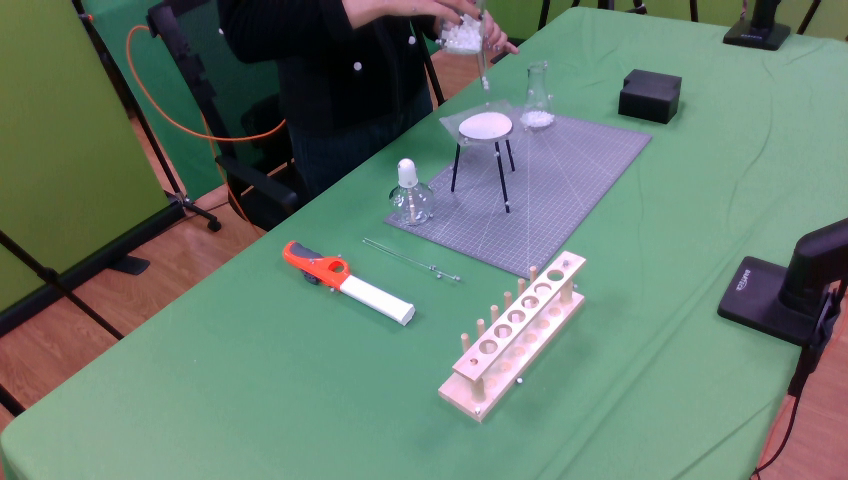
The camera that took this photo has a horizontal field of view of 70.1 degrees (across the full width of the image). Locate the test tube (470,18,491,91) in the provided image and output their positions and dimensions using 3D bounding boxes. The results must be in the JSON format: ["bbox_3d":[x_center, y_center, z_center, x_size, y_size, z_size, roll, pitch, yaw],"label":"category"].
[{"bbox_3d":[0.101,-0.323,1.066,0.017,0.151,0.017,-8,52,10],"label":"test tube"}]

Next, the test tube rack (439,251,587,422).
[{"bbox_3d":[0.118,0.111,0.780,0.066,0.085,0.243,26,51,35],"label":"test tube rack"}]

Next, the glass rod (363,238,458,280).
[{"bbox_3d":[-0.026,0.029,0.966,0.198,0.008,0.008,21,49,35],"label":"glass rod"}]

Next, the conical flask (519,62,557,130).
[{"bbox_3d":[0.225,-0.287,1.198,0.075,0.122,0.075,-6,40,5],"label":"conical flask"}]

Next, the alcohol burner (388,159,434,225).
[{"bbox_3d":[-0.023,-0.085,1.013,0.078,0.119,0.077,-4,39,4],"label":"alcohol burner"}]

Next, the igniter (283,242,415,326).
[{"bbox_3d":[-0.126,0.062,0.931,0.274,0.025,0.057,23,61,33],"label":"igniter"}]

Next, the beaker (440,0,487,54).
[{"bbox_3d":[0.063,-0.349,0.959,0.073,0.100,0.084,10,13,26],"label":"beaker"}]

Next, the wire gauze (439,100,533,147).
[{"bbox_3d":[0.100,-0.190,0.994,0.125,0.011,0.120,-15,39,-7],"label":"wire gauze"}]

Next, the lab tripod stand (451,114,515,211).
[{"bbox_3d":[0.113,-0.140,1.037,0.148,0.132,0.147,-6,38,5],"label":"lab tripod stand"}]

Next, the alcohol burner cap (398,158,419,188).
[{"bbox_3d":[-0.027,-0.111,0.989,0.034,0.048,0.033,-3,47,4],"label":"alcohol burner cap"}]
